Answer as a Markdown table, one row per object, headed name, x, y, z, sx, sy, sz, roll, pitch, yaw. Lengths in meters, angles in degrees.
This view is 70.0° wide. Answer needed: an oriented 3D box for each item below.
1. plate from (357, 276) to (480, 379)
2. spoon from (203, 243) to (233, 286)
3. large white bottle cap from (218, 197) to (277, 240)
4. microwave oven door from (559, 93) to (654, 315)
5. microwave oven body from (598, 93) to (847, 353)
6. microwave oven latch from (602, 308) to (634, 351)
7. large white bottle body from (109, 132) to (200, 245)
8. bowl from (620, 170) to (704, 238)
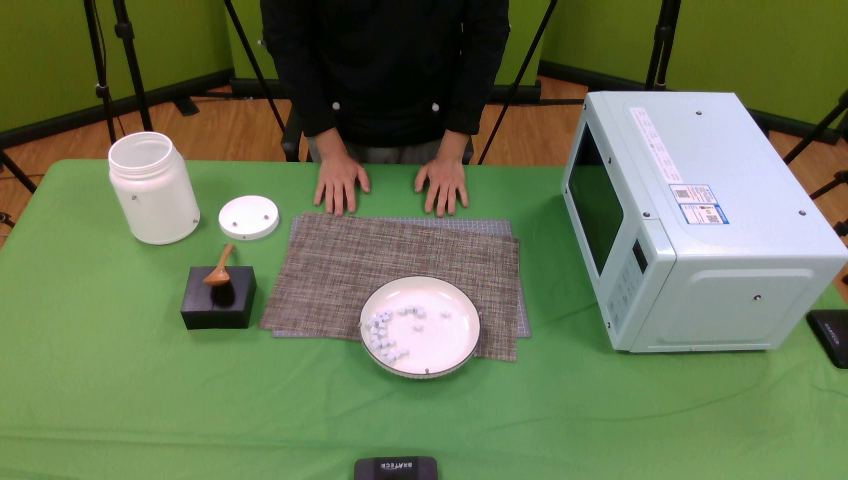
| name | x | y | z | sx | sy | sz | roll | pitch | yaw |
| --- | --- | --- | --- | --- | --- | --- | --- | --- | --- |
| plate | -0.010 | 0.151 | 1.038 | 0.209 | 0.038 | 0.208 | 2 | 47 | -2 |
| spoon | -0.360 | 0.039 | 1.087 | 0.041 | 0.022 | 0.192 | -5 | 24 | -7 |
| large white bottle cap | -0.354 | -0.045 | 1.220 | 0.115 | 0.018 | 0.114 | 2 | 45 | -2 |
| microwave oven door | 0.327 | -0.074 | 1.123 | 0.039 | 0.245 | 0.353 | -1 | 46 | -5 |
| microwave oven body | 0.475 | -0.041 | 1.109 | 0.326 | 0.261 | 0.438 | -1 | 45 | -4 |
| microwave oven latch | 0.332 | 0.153 | 1.044 | 0.030 | 0.029 | 0.078 | -1 | 45 | -4 |
| large white bottle body | -0.506 | -0.097 | 1.141 | 0.131 | 0.185 | 0.130 | 2 | 46 | -2 |
| bowl | 0.445 | -0.057 | 1.166 | 0.151 | 0.077 | 0.150 | 2 | 46 | -2 |
